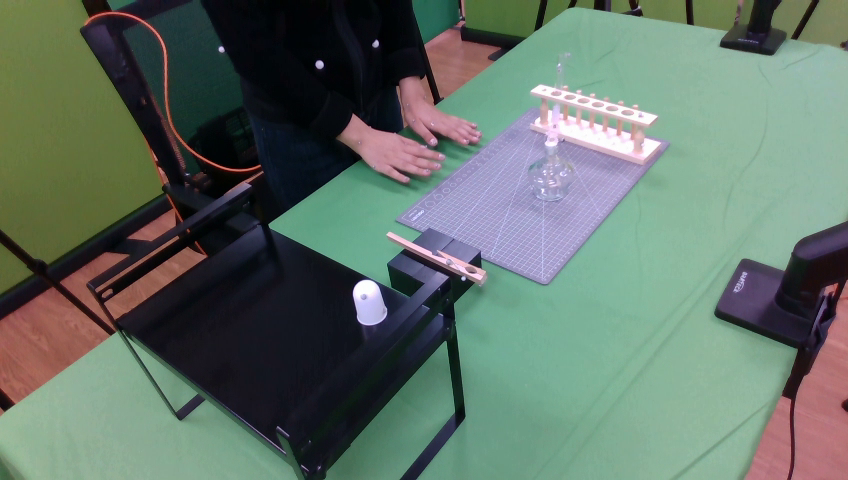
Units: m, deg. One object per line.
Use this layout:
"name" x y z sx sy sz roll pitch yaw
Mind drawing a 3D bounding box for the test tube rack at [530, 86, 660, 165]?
"test tube rack" 0.320 -0.226 1.140 0.240 0.085 0.067 27 51 34

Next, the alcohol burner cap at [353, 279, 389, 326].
"alcohol burner cap" -0.055 0.061 0.616 0.034 0.048 0.033 -5 42 5

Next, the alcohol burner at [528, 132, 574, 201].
"alcohol burner" 0.214 -0.126 1.016 0.078 0.119 0.077 -5 38 5

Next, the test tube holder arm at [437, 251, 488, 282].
"test tube holder arm" 0.051 0.037 0.852 0.087 0.015 0.010 22 54 31

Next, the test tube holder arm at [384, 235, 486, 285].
"test tube holder arm" 0.012 0.026 0.871 0.177 0.015 0.013 21 53 30

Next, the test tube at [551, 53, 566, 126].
"test tube" 0.253 -0.280 1.138 0.017 0.151 0.017 -3 44 3
